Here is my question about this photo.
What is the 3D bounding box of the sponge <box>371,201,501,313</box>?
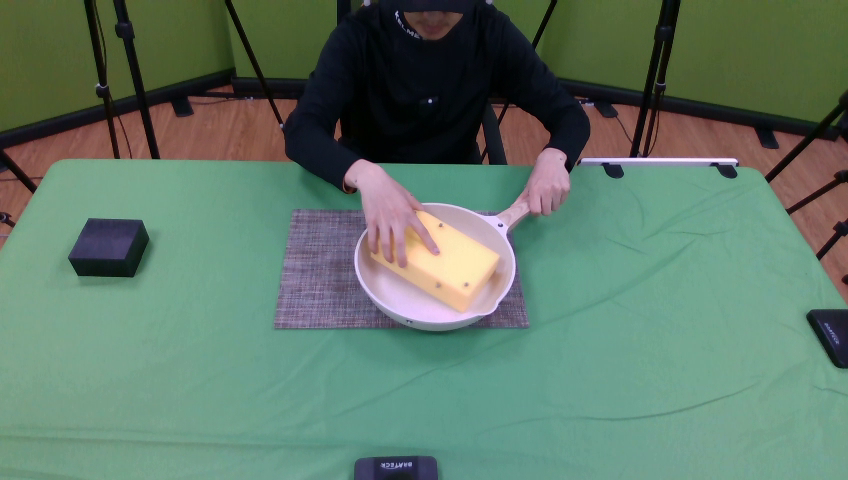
[{"bbox_3d":[0.021,0.029,1.114,0.206,0.061,0.118,31,53,13],"label":"sponge"}]

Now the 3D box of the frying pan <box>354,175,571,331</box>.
[{"bbox_3d":[0.102,-0.001,1.142,0.488,0.103,0.305,-32,56,-20],"label":"frying pan"}]
